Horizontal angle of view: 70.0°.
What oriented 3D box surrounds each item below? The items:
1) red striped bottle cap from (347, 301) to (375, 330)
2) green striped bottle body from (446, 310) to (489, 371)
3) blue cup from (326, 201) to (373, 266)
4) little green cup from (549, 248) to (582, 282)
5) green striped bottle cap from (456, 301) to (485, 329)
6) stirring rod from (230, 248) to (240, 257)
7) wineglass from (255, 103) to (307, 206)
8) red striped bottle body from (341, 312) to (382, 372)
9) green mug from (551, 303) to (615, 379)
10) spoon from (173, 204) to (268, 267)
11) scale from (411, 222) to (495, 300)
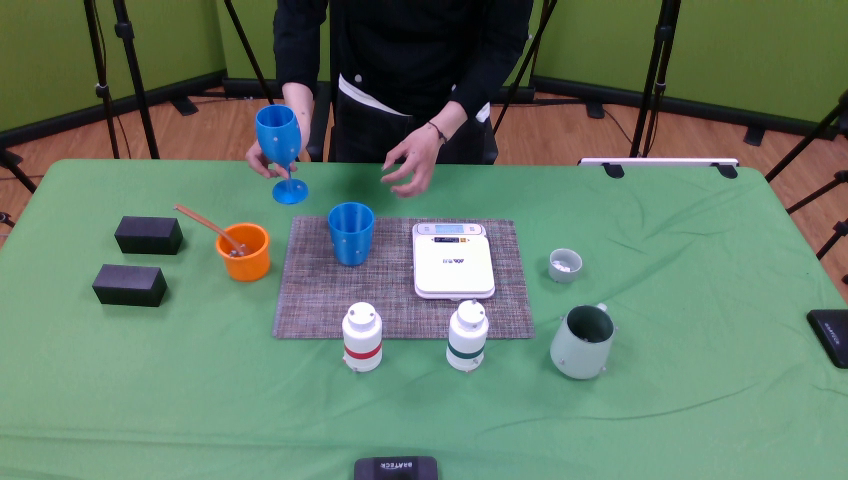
[{"bbox_3d":[-0.097,0.116,0.934,0.044,0.018,0.044,2,49,-3],"label":"red striped bottle cap"},{"bbox_3d":[0.070,0.155,0.984,0.063,0.120,0.063,2,46,-2],"label":"green striped bottle body"},{"bbox_3d":[-0.138,-0.006,1.132,0.093,0.101,0.092,3,45,-3],"label":"blue cup"},{"bbox_3d":[0.268,0.050,1.156,0.061,0.039,0.061,2,46,-1],"label":"little green cup"},{"bbox_3d":[0.073,0.116,0.943,0.044,0.020,0.044,4,46,-4],"label":"green striped bottle cap"},{"bbox_3d":[-0.330,0.023,1.059,0.014,0.176,0.006,33,79,-12],"label":"stirring rod"},{"bbox_3d":[-0.243,-0.145,1.043,0.074,0.173,0.073,1,49,-1],"label":"wineglass"},{"bbox_3d":[-0.100,0.154,0.972,0.063,0.120,0.062,2,46,-1],"label":"red striped bottle body"},{"bbox_3d":[0.271,0.157,1.007,0.092,0.105,0.125,27,50,21],"label":"green mug"},{"bbox_3d":[-0.363,-0.009,1.089,0.021,0.195,0.041,-35,31,22],"label":"spoon"},{"bbox_3d":[0.052,0.031,1.158,0.149,0.032,0.199,1,46,-4],"label":"scale"}]
